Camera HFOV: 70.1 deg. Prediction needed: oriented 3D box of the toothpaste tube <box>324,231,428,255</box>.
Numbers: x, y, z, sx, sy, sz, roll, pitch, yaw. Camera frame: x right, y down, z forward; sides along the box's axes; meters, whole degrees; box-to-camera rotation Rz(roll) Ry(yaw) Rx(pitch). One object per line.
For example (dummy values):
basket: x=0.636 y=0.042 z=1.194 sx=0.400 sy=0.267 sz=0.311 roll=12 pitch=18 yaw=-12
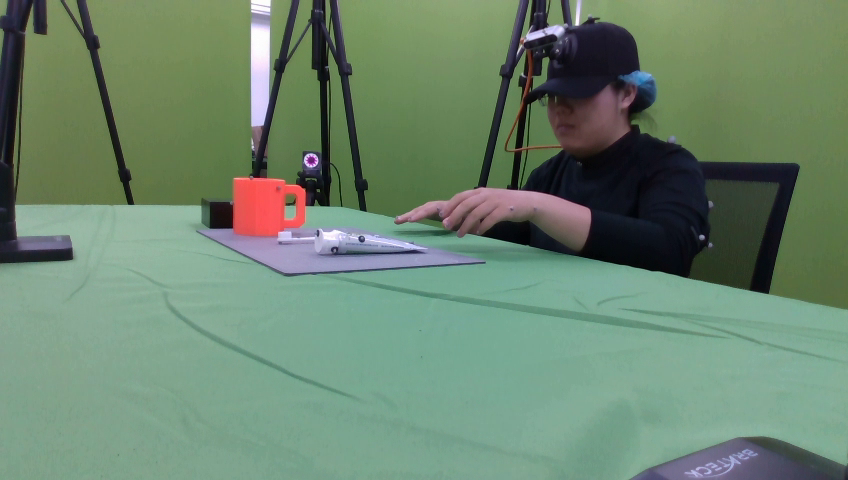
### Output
toothpaste tube: x=-0.076 y=0.006 z=0.893 sx=0.166 sy=0.034 sz=0.055 roll=1 pitch=11 yaw=-32

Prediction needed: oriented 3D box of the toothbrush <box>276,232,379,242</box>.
toothbrush: x=-0.153 y=-0.005 z=0.990 sx=0.183 sy=0.016 sz=0.014 roll=-1 pitch=-6 yaw=-33

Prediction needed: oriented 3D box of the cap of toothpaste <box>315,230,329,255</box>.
cap of toothpaste: x=-0.144 y=0.003 z=0.854 sx=0.011 sy=0.037 sz=0.037 roll=2 pitch=6 yaw=-30

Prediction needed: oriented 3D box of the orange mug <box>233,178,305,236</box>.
orange mug: x=-0.273 y=-0.061 z=1.067 sx=0.127 sy=0.101 sz=0.083 roll=-5 pitch=10 yaw=-24
